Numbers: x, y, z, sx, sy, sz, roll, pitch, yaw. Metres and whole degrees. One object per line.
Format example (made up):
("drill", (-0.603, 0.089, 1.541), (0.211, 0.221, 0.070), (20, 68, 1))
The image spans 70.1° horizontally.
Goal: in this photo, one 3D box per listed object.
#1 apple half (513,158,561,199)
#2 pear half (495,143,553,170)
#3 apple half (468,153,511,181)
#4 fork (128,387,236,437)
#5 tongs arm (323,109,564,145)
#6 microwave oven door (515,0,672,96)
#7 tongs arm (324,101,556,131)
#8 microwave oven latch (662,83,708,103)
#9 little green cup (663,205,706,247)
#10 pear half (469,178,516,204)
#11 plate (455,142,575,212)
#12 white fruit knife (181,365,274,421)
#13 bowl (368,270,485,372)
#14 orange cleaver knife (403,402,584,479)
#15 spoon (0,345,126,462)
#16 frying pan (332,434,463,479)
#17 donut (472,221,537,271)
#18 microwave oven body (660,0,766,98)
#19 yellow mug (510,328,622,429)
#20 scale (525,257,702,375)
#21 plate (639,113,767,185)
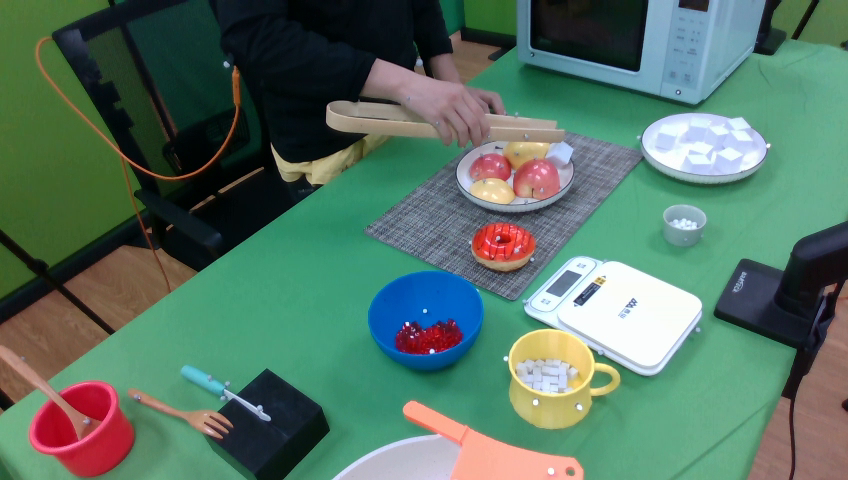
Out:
("apple half", (0.194, -0.111, 1.031), (0.080, 0.053, 0.075), (11, 41, 26))
("pear half", (0.175, -0.168, 1.094), (0.109, 0.056, 0.076), (15, 54, 30))
("apple half", (0.120, -0.138, 1.088), (0.081, 0.033, 0.081), (0, 43, 0))
("fork", (-0.305, 0.207, 0.744), (0.206, 0.019, 0.028), (3, 41, 36))
("tongs arm", (0.038, -0.175, 0.955), (0.389, 0.028, 0.028), (2, 43, -13))
("microwave oven door", (0.343, -0.454, 1.259), (0.353, 0.245, 0.039), (26, 51, 33))
("tongs arm", (0.034, -0.190, 0.974), (0.386, 0.026, 0.050), (4, 39, -10))
("microwave oven latch", (0.518, -0.296, 1.204), (0.078, 0.029, 0.030), (27, 52, 35))
("little green cup", (0.396, -0.020, 0.926), (0.061, 0.039, 0.061), (-4, 40, 4))
("pear half", (0.115, -0.090, 1.035), (0.087, 0.031, 0.071), (27, 38, 31))
("plate", (0.159, -0.111, 1.063), (0.209, 0.038, 0.208), (-4, 40, 4))
("white fruit knife", (-0.245, 0.187, 0.747), (0.205, 0.027, 0.016), (9, 42, 40))
("bowl", (0.007, 0.118, 0.791), (0.151, 0.077, 0.150), (-5, 40, 4))
("orange cleaver knife", (0.062, 0.222, 0.609), (0.210, 0.012, 0.077), (15, 47, 25))
("spoon", (-0.434, 0.192, 0.720), (0.194, 0.021, 0.042), (47, 53, -7))
("frying pan", (-0.089, 0.306, 0.564), (0.487, 0.103, 0.306), (10, 41, 7))
("donut", (0.123, 0.008, 0.923), (0.099, 0.048, 0.098), (-3, 38, 3))
("microwave oven body", (0.472, -0.513, 1.317), (0.438, 0.261, 0.327), (26, 51, 34))
("yellow mug", (0.168, 0.164, 0.721), (0.130, 0.064, 0.099), (0, 40, 8))
("scale", (0.254, 0.091, 0.821), (0.199, 0.032, 0.149), (28, 51, 35))
("plate", (0.489, -0.157, 1.074), (0.207, 0.039, 0.206), (-4, 40, 4))
